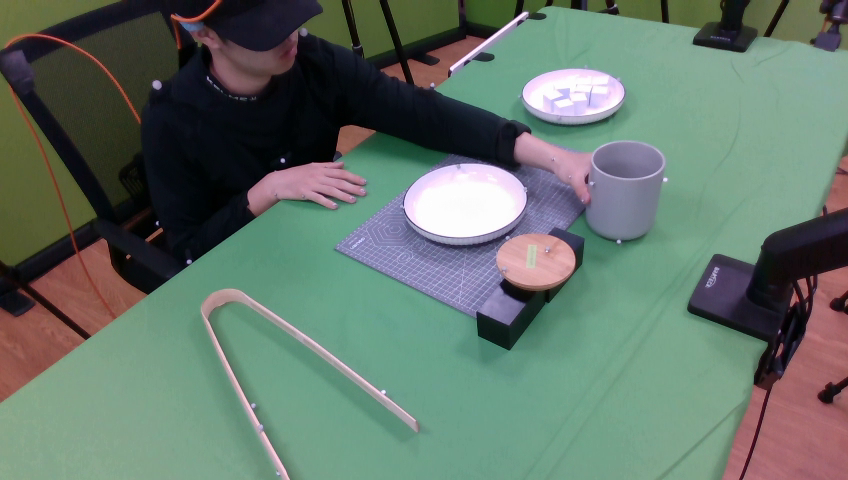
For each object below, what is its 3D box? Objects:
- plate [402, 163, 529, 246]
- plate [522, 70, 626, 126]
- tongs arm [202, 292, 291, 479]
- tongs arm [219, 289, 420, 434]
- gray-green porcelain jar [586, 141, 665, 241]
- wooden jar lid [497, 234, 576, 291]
[{"bbox_3d":[0.070,-0.056,1.008,0.209,0.038,0.208,-4,40,4],"label":"plate"},{"bbox_3d":[0.308,-0.289,1.250,0.207,0.039,0.206,-4,40,4],"label":"plate"},{"bbox_3d":[-0.216,0.187,0.772,0.051,0.026,0.381,-27,43,-24],"label":"tongs arm"},{"bbox_3d":[-0.152,0.151,0.812,0.384,0.028,0.028,26,53,33],"label":"tongs arm"},{"bbox_3d":[0.305,-0.071,0.927,0.106,0.127,0.105,-4,41,4],"label":"gray-green porcelain jar"},{"bbox_3d":[0.155,0.032,0.834,0.108,0.021,0.108,-5,40,5],"label":"wooden jar lid"}]
